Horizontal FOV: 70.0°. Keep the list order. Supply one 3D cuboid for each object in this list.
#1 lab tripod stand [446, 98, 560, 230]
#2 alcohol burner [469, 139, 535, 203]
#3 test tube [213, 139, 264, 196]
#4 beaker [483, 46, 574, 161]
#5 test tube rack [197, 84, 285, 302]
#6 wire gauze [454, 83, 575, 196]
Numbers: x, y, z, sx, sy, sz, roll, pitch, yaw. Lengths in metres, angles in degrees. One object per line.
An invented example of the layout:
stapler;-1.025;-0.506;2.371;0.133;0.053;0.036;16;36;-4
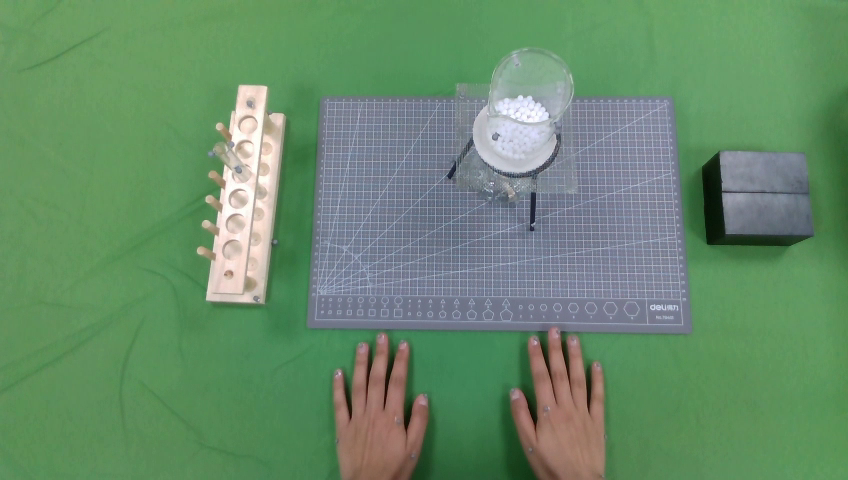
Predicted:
lab tripod stand;0.098;-0.095;0.688;0.148;0.132;0.147;0;75;2
alcohol burner;0.092;-0.085;0.696;0.078;0.119;0.077;0;76;0
test tube;-0.200;-0.076;0.666;0.017;0.151;0.017;0;78;-1
beaker;0.092;-0.122;0.577;0.084;0.100;0.073;-33;78;-7
test tube rack;-0.219;-0.053;0.712;0.067;0.085;0.241;3;77;2
wire gauze;0.093;-0.107;0.623;0.125;0.011;0.121;2;77;-1
